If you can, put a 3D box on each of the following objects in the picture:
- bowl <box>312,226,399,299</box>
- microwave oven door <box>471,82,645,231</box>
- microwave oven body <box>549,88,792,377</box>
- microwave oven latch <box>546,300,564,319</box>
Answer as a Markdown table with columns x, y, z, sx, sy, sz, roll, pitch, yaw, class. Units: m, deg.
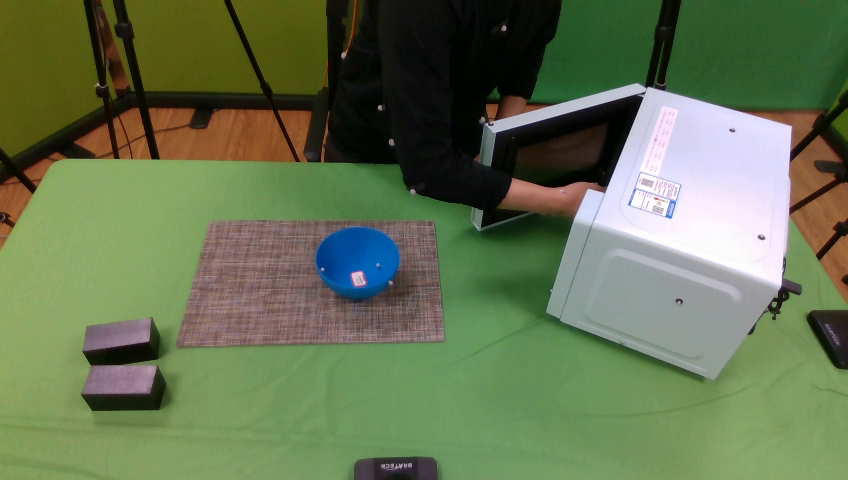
| x | y | z | sx | sy | sz | roll | pitch | yaw | class |
| --- | --- | --- | --- | --- | --- | --- | --- | --- | --- |
| -0.120 | 0.054 | 1.091 | 0.151 | 0.077 | 0.150 | 2 | 46 | -2 | bowl |
| 0.265 | -0.165 | 1.198 | 0.356 | 0.245 | 0.039 | -19 | 49 | -20 | microwave oven door |
| 0.456 | -0.028 | 1.088 | 0.325 | 0.261 | 0.440 | 20 | 47 | 16 | microwave oven body |
| 0.242 | 0.102 | 1.081 | 0.030 | 0.029 | 0.079 | 22 | 48 | 17 | microwave oven latch |
